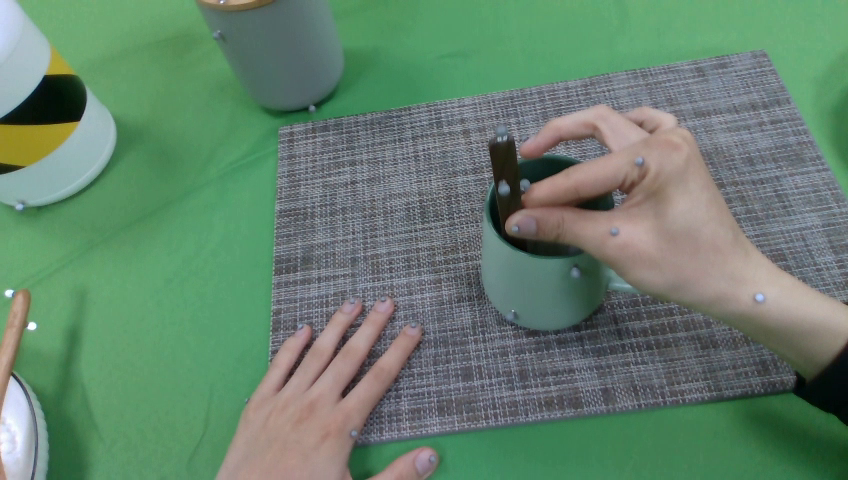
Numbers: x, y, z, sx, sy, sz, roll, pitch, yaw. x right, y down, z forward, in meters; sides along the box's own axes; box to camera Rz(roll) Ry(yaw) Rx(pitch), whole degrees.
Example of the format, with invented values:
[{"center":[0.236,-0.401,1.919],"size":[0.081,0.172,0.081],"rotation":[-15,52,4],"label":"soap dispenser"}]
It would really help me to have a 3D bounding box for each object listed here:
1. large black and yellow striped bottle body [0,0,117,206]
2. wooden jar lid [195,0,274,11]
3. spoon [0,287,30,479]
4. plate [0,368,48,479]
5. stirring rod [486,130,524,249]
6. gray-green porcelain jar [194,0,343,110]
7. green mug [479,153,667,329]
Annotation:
[{"center":[-0.370,-0.128,0.511],"size":[0.130,0.185,0.129],"rotation":[-3,60,6],"label":"large black and yellow striped bottle body"},{"center":[-0.143,-0.222,0.495],"size":[0.108,0.021,0.107],"rotation":[-3,63,6],"label":"wooden jar lid"},{"center":[-0.299,0.122,0.425],"size":[0.041,0.022,0.192],"rotation":[-6,68,3],"label":"spoon"},{"center":[-0.356,0.179,0.418],"size":[0.209,0.038,0.207],"rotation":[-3,60,6],"label":"plate"},{"center":[0.053,-0.004,0.368],"size":[0.014,0.178,0.005],"rotation":[-16,54,2],"label":"stirring rod"},{"center":[-0.134,-0.190,0.548],"size":[0.106,0.127,0.105],"rotation":[-3,60,6],"label":"gray-green porcelain jar"},{"center":[0.098,0.006,0.411],"size":[0.125,0.106,0.092],"rotation":[11,62,14],"label":"green mug"}]
